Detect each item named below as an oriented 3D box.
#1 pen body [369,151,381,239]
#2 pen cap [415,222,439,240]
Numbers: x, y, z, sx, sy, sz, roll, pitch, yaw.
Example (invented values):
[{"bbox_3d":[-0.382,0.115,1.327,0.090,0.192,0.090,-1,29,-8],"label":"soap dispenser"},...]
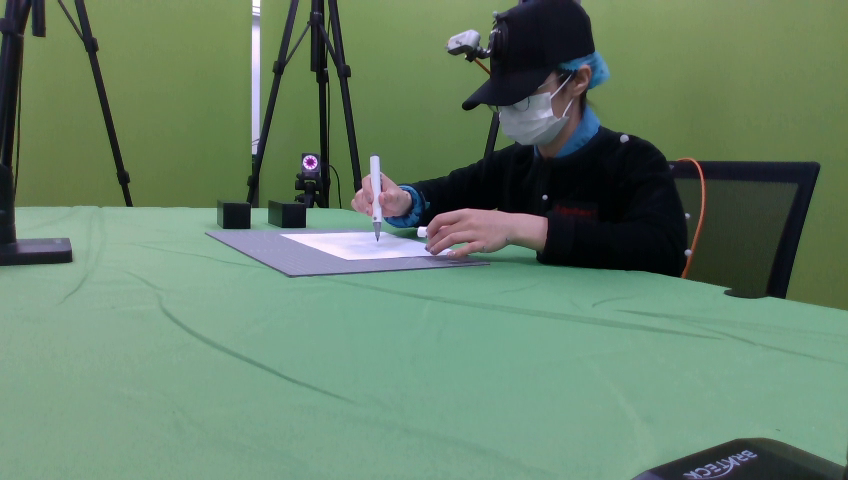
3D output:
[{"bbox_3d":[-0.078,-0.072,0.974,0.017,0.144,0.017,-3,-10,0],"label":"pen body"},{"bbox_3d":[0.006,-0.013,0.915,0.038,0.017,0.017,30,22,30],"label":"pen cap"}]
